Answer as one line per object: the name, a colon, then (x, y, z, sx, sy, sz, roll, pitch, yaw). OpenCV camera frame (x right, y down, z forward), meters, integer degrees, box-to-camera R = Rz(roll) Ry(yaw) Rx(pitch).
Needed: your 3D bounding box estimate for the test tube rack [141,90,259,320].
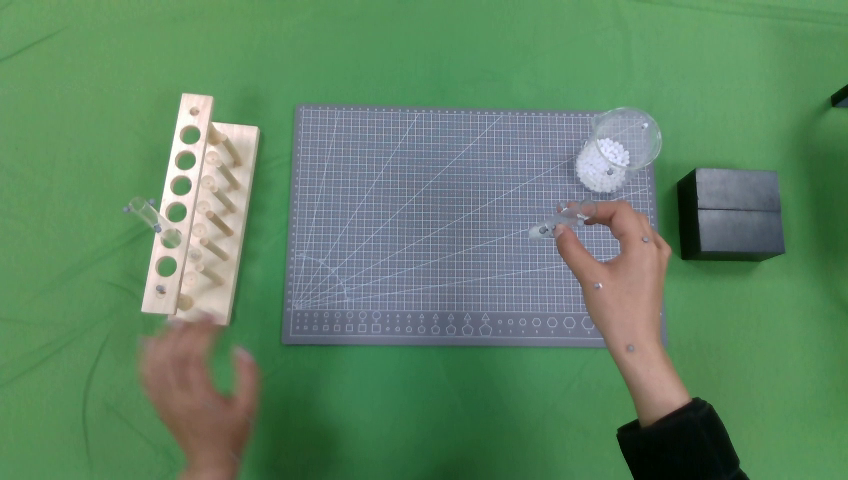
test tube rack: (-0.246, -0.036, 0.683, 0.067, 0.085, 0.241, 6, 78, -1)

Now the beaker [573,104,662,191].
beaker: (0.219, -0.106, 0.711, 0.084, 0.100, 0.074, 32, 77, 6)

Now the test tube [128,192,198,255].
test tube: (-0.265, -0.013, 0.627, 0.017, 0.151, 0.017, 0, 70, 0)

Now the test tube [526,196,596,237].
test tube: (0.119, -0.019, 0.548, 0.017, 0.150, 0.017, 1, 83, -7)
